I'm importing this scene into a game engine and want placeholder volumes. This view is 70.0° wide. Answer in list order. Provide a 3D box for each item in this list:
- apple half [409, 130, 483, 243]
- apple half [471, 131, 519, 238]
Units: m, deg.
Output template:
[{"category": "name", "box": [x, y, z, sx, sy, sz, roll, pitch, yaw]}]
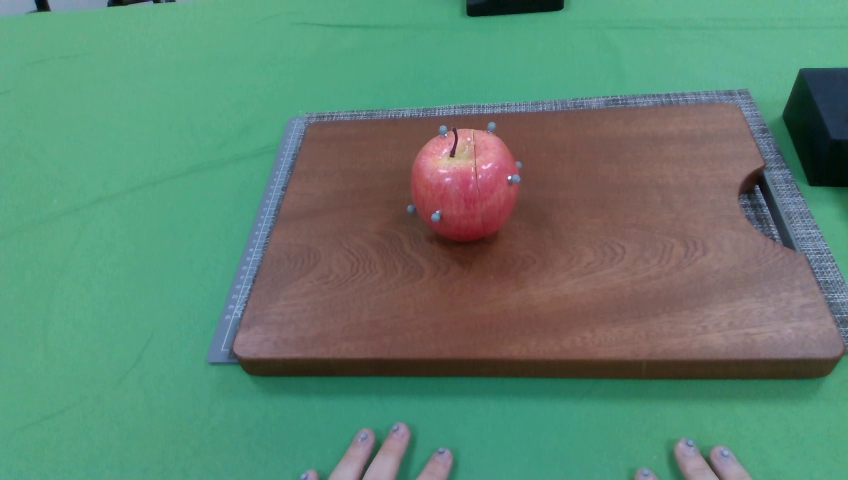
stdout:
[{"category": "apple half", "box": [0.016, -0.038, 0.458, 0.053, 0.075, 0.080, -7, 51, 8]}, {"category": "apple half", "box": [0.055, -0.042, 0.454, 0.033, 0.082, 0.080, -7, 47, 7]}]
